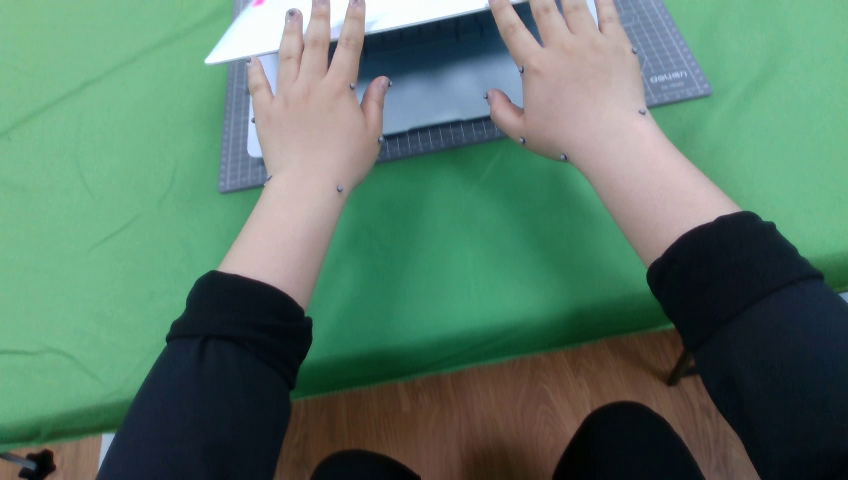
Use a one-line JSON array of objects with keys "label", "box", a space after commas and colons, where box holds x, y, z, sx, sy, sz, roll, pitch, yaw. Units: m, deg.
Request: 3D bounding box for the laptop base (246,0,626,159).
[{"label": "laptop base", "box": [-0.003, -0.197, 0.611, 0.354, 0.023, 0.233, -10, 59, 3]}]

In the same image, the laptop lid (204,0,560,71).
[{"label": "laptop lid", "box": [-0.014, -0.235, 0.570, 0.356, 0.013, 0.239, -9, 36, 5]}]
